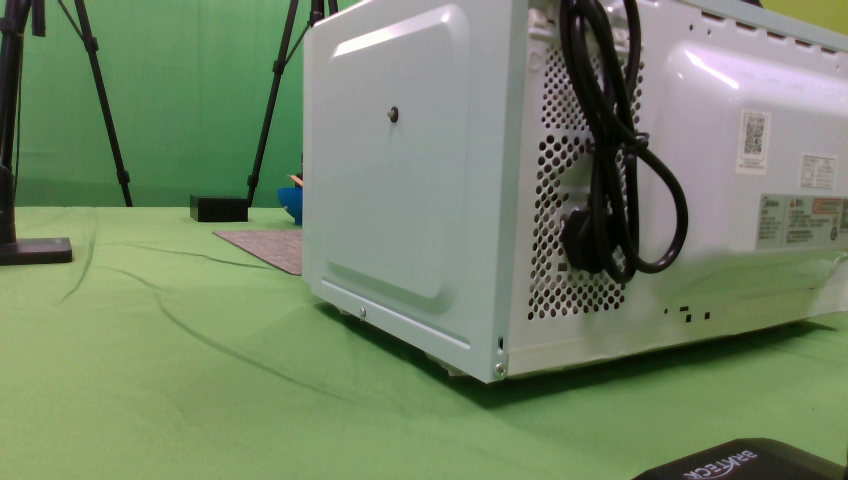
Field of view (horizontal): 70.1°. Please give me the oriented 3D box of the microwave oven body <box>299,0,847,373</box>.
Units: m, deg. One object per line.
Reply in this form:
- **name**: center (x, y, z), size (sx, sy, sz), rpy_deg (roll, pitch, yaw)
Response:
- **microwave oven body**: center (0.152, -0.055, 0.542), size (0.444, 0.260, 0.324), rpy_deg (-1, 7, -33)

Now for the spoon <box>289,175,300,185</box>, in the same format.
- **spoon**: center (-0.261, -0.111, 1.343), size (0.042, 0.021, 0.192), rpy_deg (-8, 33, -30)

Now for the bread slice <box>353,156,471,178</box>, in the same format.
- **bread slice**: center (-0.018, -0.089, 0.732), size (0.104, 0.019, 0.132), rpy_deg (10, 11, 31)

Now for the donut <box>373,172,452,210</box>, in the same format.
- **donut**: center (-0.014, -0.060, 0.742), size (0.099, 0.048, 0.099), rpy_deg (1, 5, 0)

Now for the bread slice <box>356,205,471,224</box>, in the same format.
- **bread slice**: center (-0.015, -0.033, 0.735), size (0.106, 0.018, 0.135), rpy_deg (1, 5, 28)

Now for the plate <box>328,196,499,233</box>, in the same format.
- **plate**: center (-0.013, -0.033, 0.743), size (0.208, 0.039, 0.207), rpy_deg (1, 6, 0)

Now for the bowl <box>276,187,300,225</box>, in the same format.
- **bowl**: center (-0.241, -0.073, 1.302), size (0.151, 0.077, 0.151), rpy_deg (2, 7, 0)

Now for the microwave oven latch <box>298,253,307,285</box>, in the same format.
- **microwave oven latch**: center (-0.081, 0.027, 0.582), size (0.079, 0.029, 0.030), rpy_deg (-1, 7, -32)

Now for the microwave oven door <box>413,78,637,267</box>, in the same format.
- **microwave oven door**: center (0.128, -0.104, 0.888), size (0.354, 0.243, 0.039), rpy_deg (9, 10, 41)
